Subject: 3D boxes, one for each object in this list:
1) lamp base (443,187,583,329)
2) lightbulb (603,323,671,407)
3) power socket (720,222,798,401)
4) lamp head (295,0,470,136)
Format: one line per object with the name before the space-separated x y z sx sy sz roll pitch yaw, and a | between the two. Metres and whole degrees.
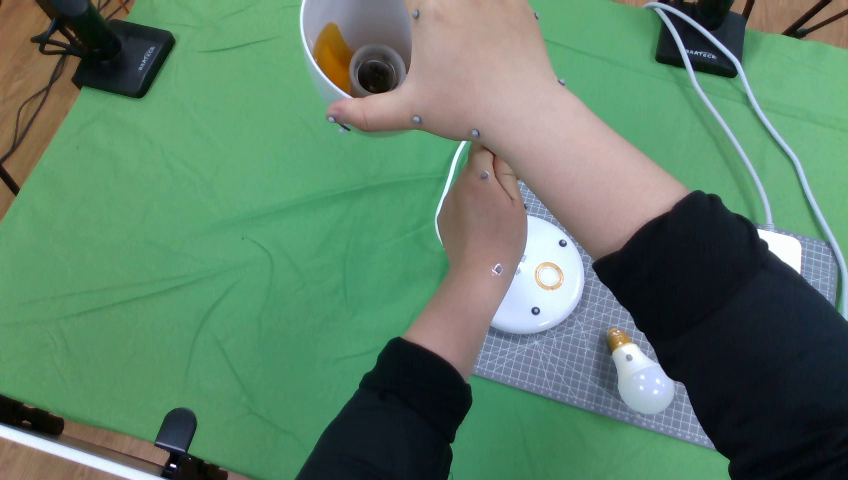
lamp base | 0.103 0.002 0.693 0.179 0.181 0.159 9 68 9
lightbulb | 0.241 0.142 0.702 0.059 0.060 0.106 -20 53 -6
power socket | 0.406 0.079 0.732 0.072 0.033 0.225 14 68 6
lamp head | -0.030 -0.122 0.434 0.112 0.123 0.112 1 79 -5
